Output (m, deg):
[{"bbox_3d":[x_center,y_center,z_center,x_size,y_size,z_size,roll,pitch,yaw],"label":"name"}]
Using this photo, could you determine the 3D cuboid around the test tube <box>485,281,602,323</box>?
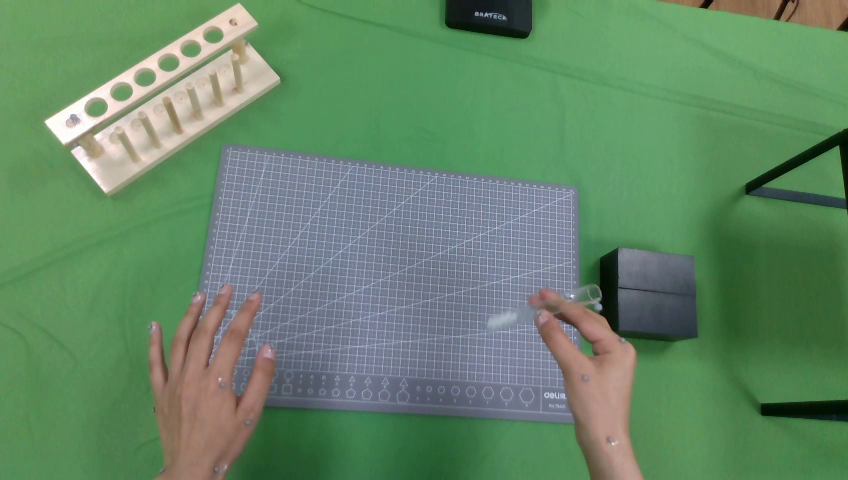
[{"bbox_3d":[0.104,0.059,0.558,0.017,0.150,0.017,10,70,-29],"label":"test tube"}]

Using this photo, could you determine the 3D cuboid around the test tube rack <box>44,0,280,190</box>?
[{"bbox_3d":[-0.283,-0.165,0.686,0.242,0.085,0.066,-40,85,-18],"label":"test tube rack"}]
